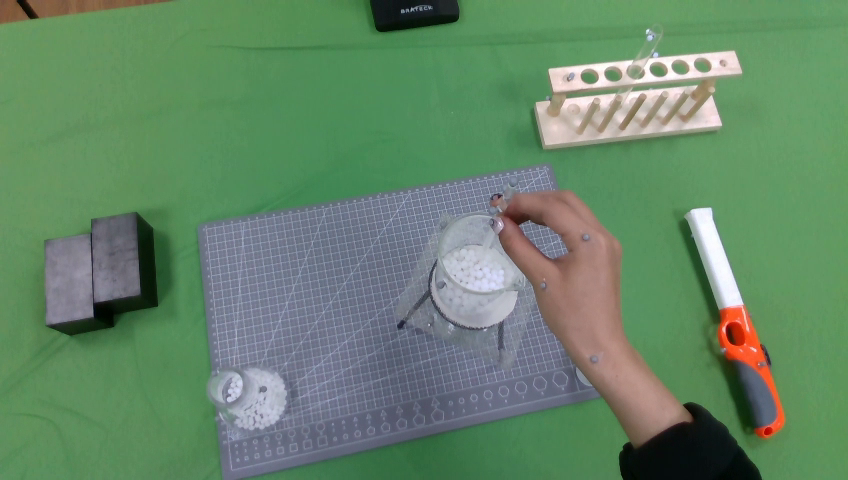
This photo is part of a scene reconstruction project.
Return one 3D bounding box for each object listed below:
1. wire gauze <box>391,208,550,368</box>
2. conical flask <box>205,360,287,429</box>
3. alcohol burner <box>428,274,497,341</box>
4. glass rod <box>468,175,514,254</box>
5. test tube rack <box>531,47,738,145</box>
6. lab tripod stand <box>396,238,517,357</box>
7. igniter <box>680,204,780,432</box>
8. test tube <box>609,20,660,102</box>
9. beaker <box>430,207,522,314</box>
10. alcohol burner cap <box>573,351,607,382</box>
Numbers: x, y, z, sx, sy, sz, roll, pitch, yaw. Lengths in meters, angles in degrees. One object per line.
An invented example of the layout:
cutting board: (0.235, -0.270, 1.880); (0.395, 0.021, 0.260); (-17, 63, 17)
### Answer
wire gauze: (0.046, 0.043, 0.591); (0.125, 0.011, 0.121); (25, 74, 4)
conical flask: (-0.186, 0.151, 0.616); (0.075, 0.122, 0.075); (1, 70, -3)
alcohol burner: (0.043, 0.070, 0.662); (0.078, 0.120, 0.077); (0, 72, -1)
glass rod: (0.051, -0.015, 0.490); (0.008, 0.200, 0.008); (1, 75, -3)
test tube rack: (0.270, -0.184, 0.780); (0.243, 0.085, 0.066); (-7, 71, -5)
lab tripod stand: (0.041, 0.063, 0.653); (0.148, 0.132, 0.147); (1, 72, -2)
igniter: (0.363, 0.086, 0.723); (0.057, 0.025, 0.274); (-5, 71, -16)
test tube: (0.253, -0.212, 0.737); (0.017, 0.151, 0.017); (0, 71, 0)
beaker: (0.045, 0.025, 0.546); (0.083, 0.101, 0.074); (37, 74, 10)
alcohol burner cap: (0.189, 0.140, 0.683); (0.034, 0.048, 0.033); (1, 69, -3)
